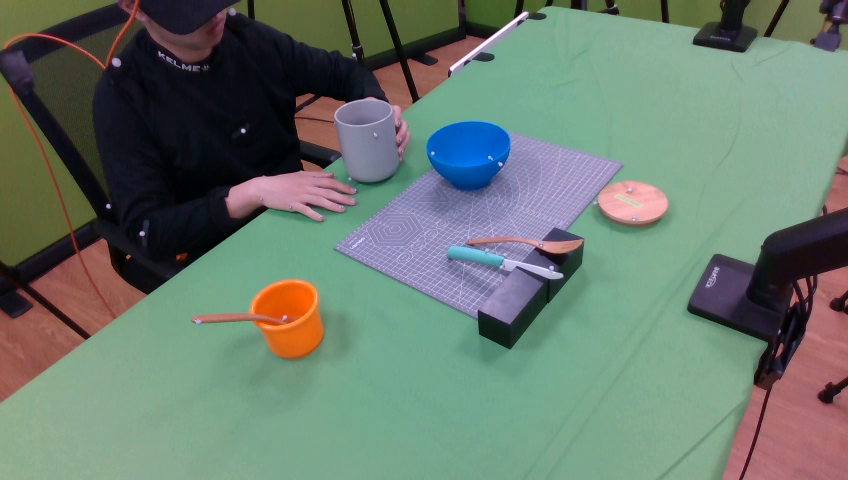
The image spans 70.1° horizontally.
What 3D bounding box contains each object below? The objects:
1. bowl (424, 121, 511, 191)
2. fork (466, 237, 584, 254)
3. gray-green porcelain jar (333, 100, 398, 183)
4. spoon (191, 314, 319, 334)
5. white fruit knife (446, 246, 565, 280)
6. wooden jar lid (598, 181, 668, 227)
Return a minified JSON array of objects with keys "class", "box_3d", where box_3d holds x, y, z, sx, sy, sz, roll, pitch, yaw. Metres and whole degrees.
[{"class":"bowl","box_3d":[0.080,-0.141,1.074,0.151,0.077,0.150,-4,40,4]},{"class":"fork","box_3d":[0.142,0.005,0.894,0.205,0.019,0.028,4,43,41]},{"class":"gray-green porcelain jar","box_3d":[-0.103,-0.177,1.109,0.106,0.127,0.105,-3,38,3]},{"class":"spoon","box_3d":[-0.212,0.105,0.781,0.041,0.195,0.021,29,97,37]},{"class":"white fruit knife","box_3d":[0.111,0.033,0.868,0.205,0.027,0.016,11,44,40]},{"class":"wooden jar lid","box_3d":[0.340,-0.058,0.988,0.108,0.021,0.108,-5,41,5]}]
